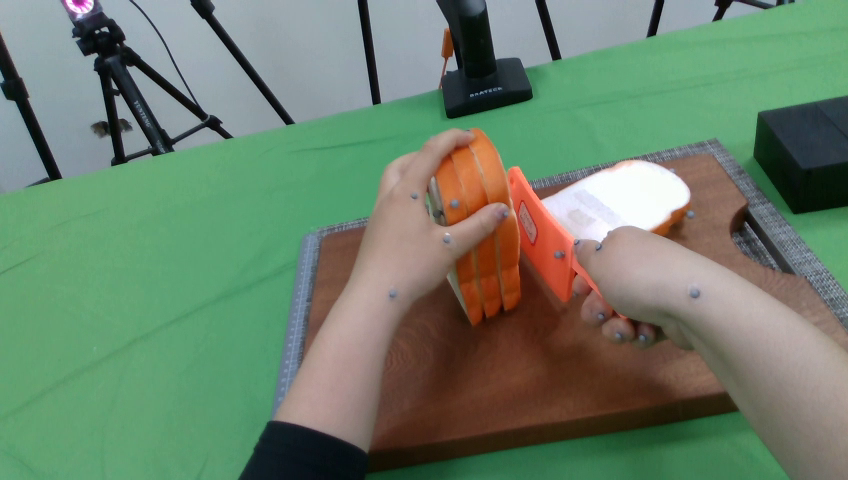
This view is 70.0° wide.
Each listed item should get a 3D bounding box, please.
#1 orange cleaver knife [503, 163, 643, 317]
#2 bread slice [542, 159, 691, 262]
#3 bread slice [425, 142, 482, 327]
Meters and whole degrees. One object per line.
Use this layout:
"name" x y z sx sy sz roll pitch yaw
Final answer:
"orange cleaver knife" 0.103 0.008 0.470 0.012 0.078 0.209 -12 33 -11
"bread slice" 0.168 -0.026 0.540 0.131 0.019 0.103 -27 38 -6
"bread slice" 0.023 -0.012 0.499 0.018 0.135 0.106 -14 36 -3
